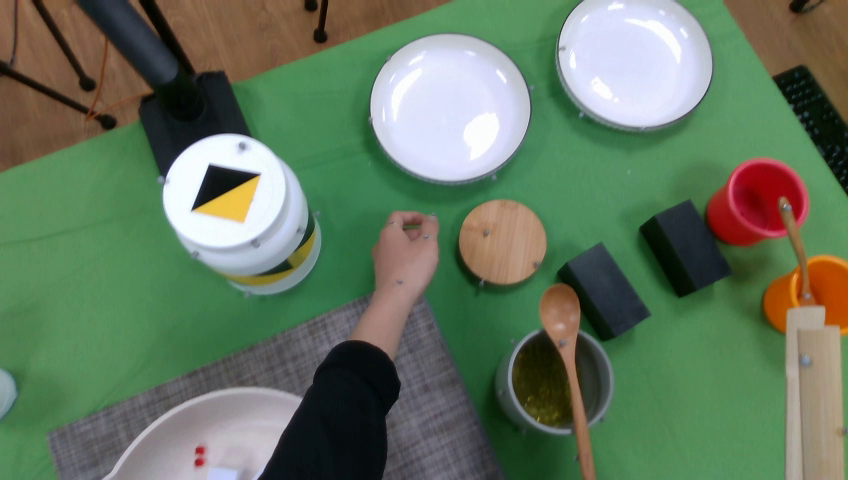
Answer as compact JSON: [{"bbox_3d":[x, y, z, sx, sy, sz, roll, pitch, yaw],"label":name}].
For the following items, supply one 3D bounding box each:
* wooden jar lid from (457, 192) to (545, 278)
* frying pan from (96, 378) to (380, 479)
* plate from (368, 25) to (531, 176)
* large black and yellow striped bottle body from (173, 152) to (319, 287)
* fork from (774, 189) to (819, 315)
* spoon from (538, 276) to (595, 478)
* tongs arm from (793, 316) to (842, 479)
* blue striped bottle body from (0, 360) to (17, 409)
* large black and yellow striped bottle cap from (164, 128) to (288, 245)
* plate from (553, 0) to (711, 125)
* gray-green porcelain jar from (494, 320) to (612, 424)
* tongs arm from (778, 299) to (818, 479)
[{"bbox_3d":[0.095,-0.006,0.749,0.108,0.021,0.108,0,77,-1],"label":"wooden jar lid"},{"bbox_3d":[-0.214,0.384,0.590,0.306,0.103,0.485,17,67,4],"label":"frying pan"},{"bbox_3d":[0.032,-0.177,0.783,0.208,0.039,0.206,0,76,-1],"label":"plate"},{"bbox_3d":[-0.192,-0.028,0.662,0.131,0.185,0.130,0,74,-1],"label":"large black and yellow striped bottle body"},{"bbox_3d":[0.422,0.022,0.685,0.028,0.018,0.209,-36,123,-2],"label":"fork"},{"bbox_3d":[0.143,0.132,0.587,0.042,0.022,0.193,-6,79,-10],"label":"spoon"},{"bbox_3d":[0.288,0.232,0.449,0.026,0.050,0.386,-7,101,13],"label":"tongs arm"},{"bbox_3d":[-0.496,0.152,0.637,0.063,0.121,0.062,0,75,-1],"label":"blue striped bottle body"},{"bbox_3d":[-0.189,-0.052,0.581,0.115,0.019,0.114,1,77,-2],"label":"large black and yellow striped bottle cap"},{"bbox_3d":[0.273,-0.245,0.807,0.209,0.038,0.208,0,75,-1],"label":"plate"},{"bbox_3d":[0.132,0.144,0.656,0.106,0.127,0.105,0,75,-1],"label":"gray-green porcelain jar"},{"bbox_3d":[0.292,0.226,0.469,0.028,0.028,0.389,-8,106,9],"label":"tongs arm"}]
